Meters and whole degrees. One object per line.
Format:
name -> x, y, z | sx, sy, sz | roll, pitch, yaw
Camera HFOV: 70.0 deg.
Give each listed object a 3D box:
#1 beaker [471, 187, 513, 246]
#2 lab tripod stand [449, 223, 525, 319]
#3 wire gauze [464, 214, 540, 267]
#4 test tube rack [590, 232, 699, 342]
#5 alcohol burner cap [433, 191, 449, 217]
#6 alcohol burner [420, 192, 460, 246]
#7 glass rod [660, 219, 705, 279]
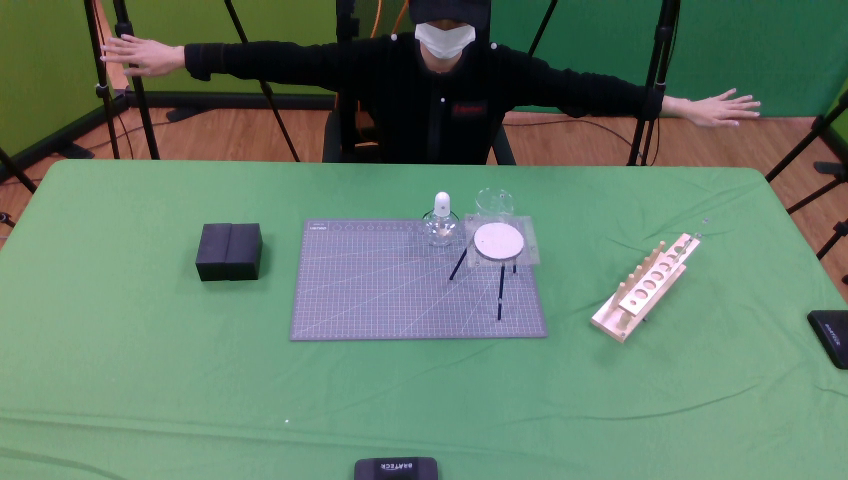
beaker -> 0.134, -0.042, 1.190 | 0.083, 0.101, 0.074 | 34, 53, 25
lab tripod stand -> 0.120, 0.046, 1.080 | 0.148, 0.132, 0.147 | 1, 47, -1
wire gauze -> 0.131, -0.002, 1.034 | 0.121, 0.011, 0.124 | 1, 45, -2
test tube rack -> 0.407, 0.074, 1.112 | 0.066, 0.085, 0.242 | 35, 53, 26
alcohol burner cap -> 0.033, -0.070, 1.150 | 0.034, 0.048, 0.033 | 1, 44, 0
alcohol burner -> 0.032, -0.046, 1.176 | 0.078, 0.120, 0.077 | 2, 44, -1
glass rod -> 0.444, 0.032, 1.063 | 0.008, 0.200, 0.008 | 5, 49, -6
